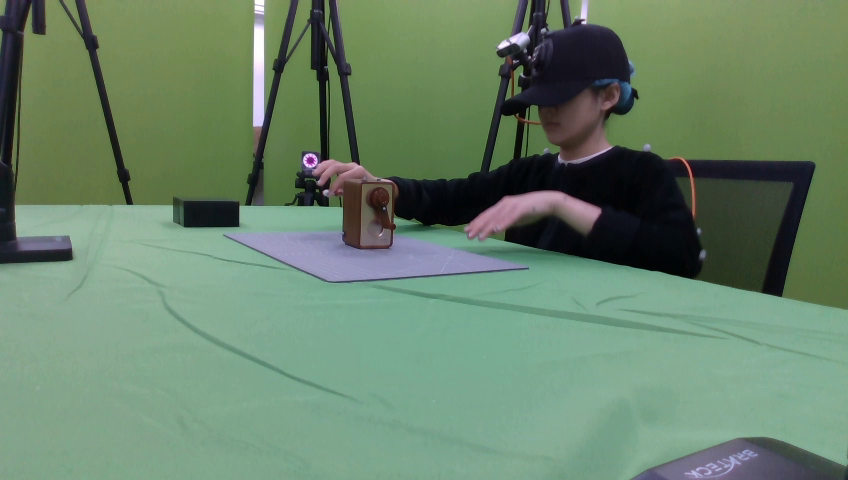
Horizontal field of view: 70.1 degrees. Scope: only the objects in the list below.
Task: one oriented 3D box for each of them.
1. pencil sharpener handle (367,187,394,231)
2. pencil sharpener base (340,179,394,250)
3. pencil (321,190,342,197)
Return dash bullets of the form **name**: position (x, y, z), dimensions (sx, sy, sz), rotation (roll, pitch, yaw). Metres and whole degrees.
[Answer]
- **pencil sharpener handle**: position (-0.061, -0.046, 0.916), dimensions (0.036, 0.068, 0.030), rotation (-19, 17, -26)
- **pencil sharpener base**: position (-0.091, -0.041, 0.959), dimensions (0.061, 0.107, 0.076), rotation (-1, 9, -30)
- **pencil**: position (-0.143, -0.078, 1.049), dimensions (0.012, 0.012, 0.193), rotation (-1, 7, -29)
